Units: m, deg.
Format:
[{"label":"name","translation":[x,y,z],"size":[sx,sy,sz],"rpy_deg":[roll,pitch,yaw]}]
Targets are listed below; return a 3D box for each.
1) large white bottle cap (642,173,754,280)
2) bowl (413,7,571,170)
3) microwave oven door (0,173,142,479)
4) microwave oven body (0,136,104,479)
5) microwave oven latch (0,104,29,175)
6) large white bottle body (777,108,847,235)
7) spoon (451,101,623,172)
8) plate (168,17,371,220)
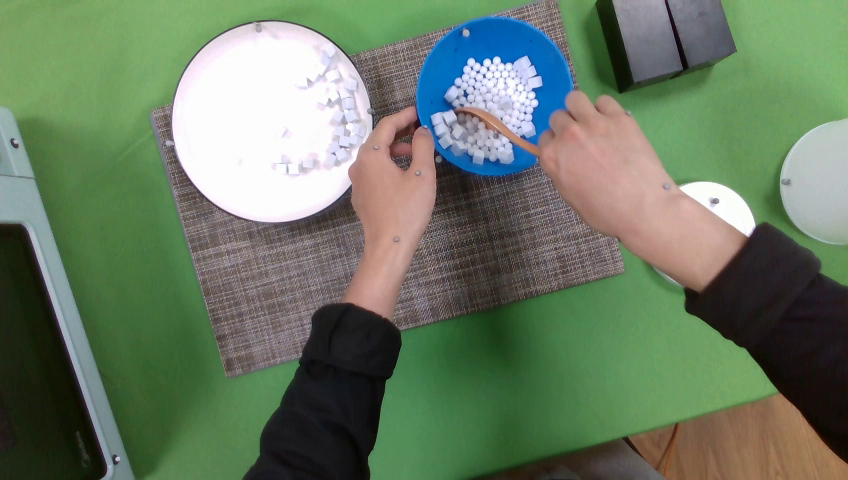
[{"label":"large white bottle cap","translation":[0.293,-0.015,0.648],"size":[0.115,0.018,0.115],"rpy_deg":[0,93,0]},{"label":"bowl","translation":[0.065,-0.143,0.610],"size":[0.151,0.077,0.151],"rpy_deg":[0,93,2]},{"label":"microwave oven door","translation":[-0.377,0.109,0.534],"size":[0.039,0.243,0.356],"rpy_deg":[-18,92,2]},{"label":"microwave oven body","translation":[-0.529,0.114,0.541],"size":[0.326,0.260,0.442],"rpy_deg":[-18,93,1]},{"label":"microwave oven latch","translation":[-0.440,-0.103,0.625],"size":[0.030,0.029,0.079],"rpy_deg":[-17,93,1]},{"label":"large white bottle body","translation":[0.437,-0.068,0.559],"size":[0.130,0.184,0.130],"rpy_deg":[0,92,1]},{"label":"spoon","translation":[0.098,-0.095,0.559],"size":[0.192,0.042,0.021],"rpy_deg":[34,93,36]},{"label":"plate","translation":[-0.157,-0.123,0.634],"size":[0.209,0.038,0.209],"rpy_deg":[0,93,1]}]
